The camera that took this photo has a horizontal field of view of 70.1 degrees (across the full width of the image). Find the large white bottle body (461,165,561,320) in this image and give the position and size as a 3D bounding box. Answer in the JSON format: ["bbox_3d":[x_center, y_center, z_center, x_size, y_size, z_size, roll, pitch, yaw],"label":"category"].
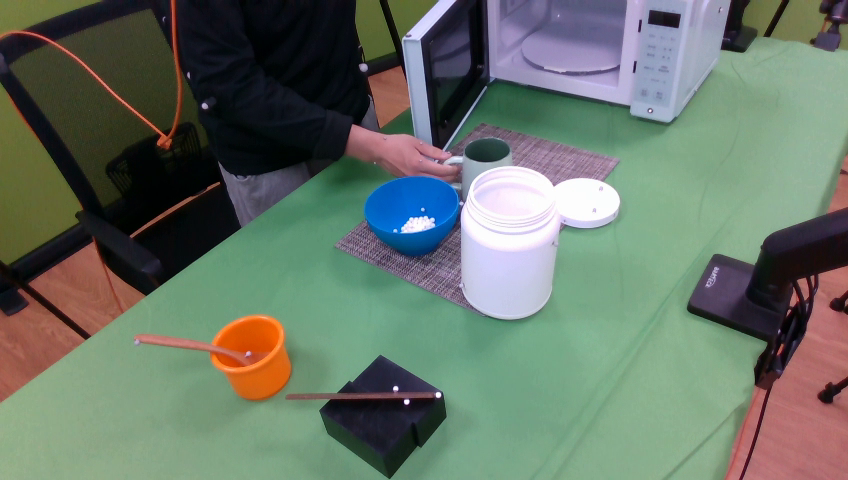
[{"bbox_3d":[0.115,0.004,0.816,0.130,0.185,0.130,-2,43,2],"label":"large white bottle body"}]

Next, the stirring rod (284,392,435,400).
[{"bbox_3d":[-0.075,0.180,0.698,0.176,0.006,0.014,-2,6,7],"label":"stirring rod"}]

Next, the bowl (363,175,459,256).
[{"bbox_3d":[-0.017,-0.028,0.955,0.151,0.077,0.150,-4,40,4],"label":"bowl"}]

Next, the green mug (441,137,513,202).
[{"bbox_3d":[0.090,-0.107,1.012,0.125,0.105,0.092,2,42,11],"label":"green mug"}]

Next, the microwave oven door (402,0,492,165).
[{"bbox_3d":[0.056,-0.343,1.166,0.039,0.245,0.356,10,44,20],"label":"microwave oven door"}]

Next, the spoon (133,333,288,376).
[{"bbox_3d":[-0.257,0.137,0.747,0.021,0.195,0.041,-47,40,23],"label":"spoon"}]

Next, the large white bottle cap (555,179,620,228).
[{"bbox_3d":[0.265,-0.062,1.001,0.115,0.018,0.114,-3,41,3],"label":"large white bottle cap"}]

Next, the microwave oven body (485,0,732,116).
[{"bbox_3d":[0.377,-0.462,1.267,0.438,0.261,0.327,21,49,30],"label":"microwave oven body"}]

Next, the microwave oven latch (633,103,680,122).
[{"bbox_3d":[0.443,-0.249,1.157,0.078,0.029,0.030,20,48,30],"label":"microwave oven latch"}]
